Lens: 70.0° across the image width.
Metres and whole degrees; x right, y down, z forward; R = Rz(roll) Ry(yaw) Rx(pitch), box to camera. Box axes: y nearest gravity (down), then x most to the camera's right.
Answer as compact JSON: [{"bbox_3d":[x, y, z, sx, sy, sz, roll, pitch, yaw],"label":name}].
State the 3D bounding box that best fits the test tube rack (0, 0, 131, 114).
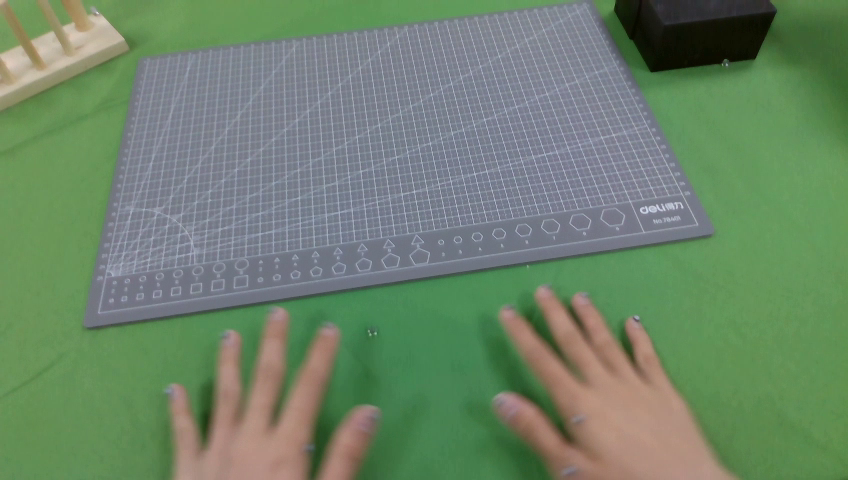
[{"bbox_3d":[-0.406,-0.164,0.540,0.242,0.086,0.066,-35,59,-21],"label":"test tube rack"}]
